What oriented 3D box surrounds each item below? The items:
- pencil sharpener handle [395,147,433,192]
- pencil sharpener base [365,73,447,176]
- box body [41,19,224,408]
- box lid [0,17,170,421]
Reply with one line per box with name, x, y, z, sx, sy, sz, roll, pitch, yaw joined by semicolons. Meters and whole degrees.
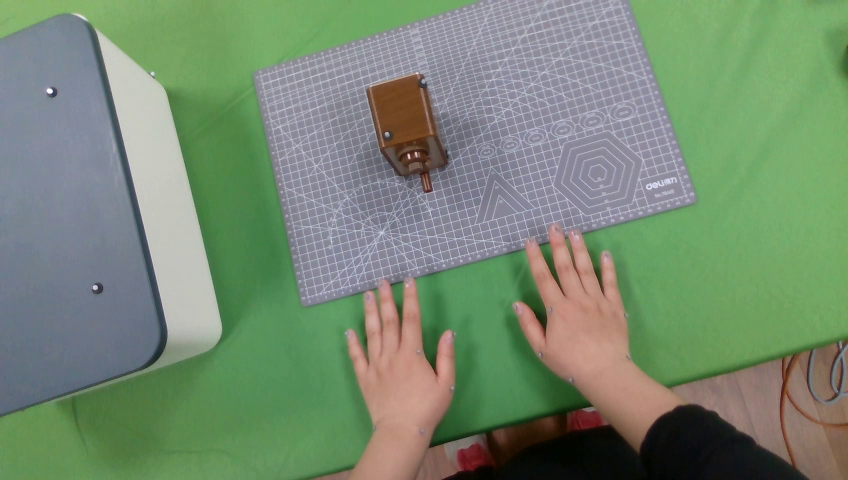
pencil sharpener handle;-0.005;-0.071;0.628;0.036;0.068;0.030;-16;79;12
pencil sharpener base;-0.016;-0.117;0.649;0.061;0.107;0.076;-15;79;6
box body;-0.396;-0.012;0.665;0.254;0.161;0.362;-19;79;5
box lid;-0.403;-0.020;0.587;0.263;0.015;0.370;-19;80;4
